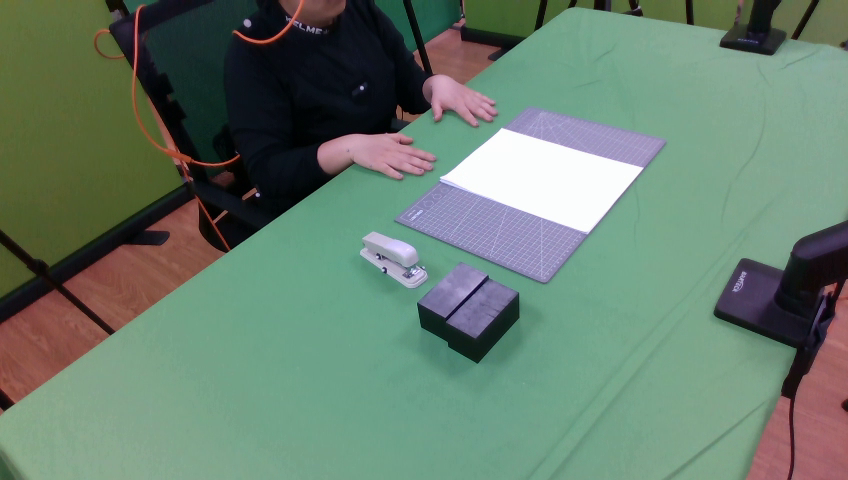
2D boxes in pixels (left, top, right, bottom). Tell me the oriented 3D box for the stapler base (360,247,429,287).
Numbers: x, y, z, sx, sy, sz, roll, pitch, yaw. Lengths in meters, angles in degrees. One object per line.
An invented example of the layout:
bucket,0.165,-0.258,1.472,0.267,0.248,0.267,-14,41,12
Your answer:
stapler base,-0.048,0.030,0.949,0.041,0.024,0.129,-34,45,-30

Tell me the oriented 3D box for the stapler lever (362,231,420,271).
stapler lever,-0.052,0.011,0.934,0.027,0.040,0.117,-34,45,-30
